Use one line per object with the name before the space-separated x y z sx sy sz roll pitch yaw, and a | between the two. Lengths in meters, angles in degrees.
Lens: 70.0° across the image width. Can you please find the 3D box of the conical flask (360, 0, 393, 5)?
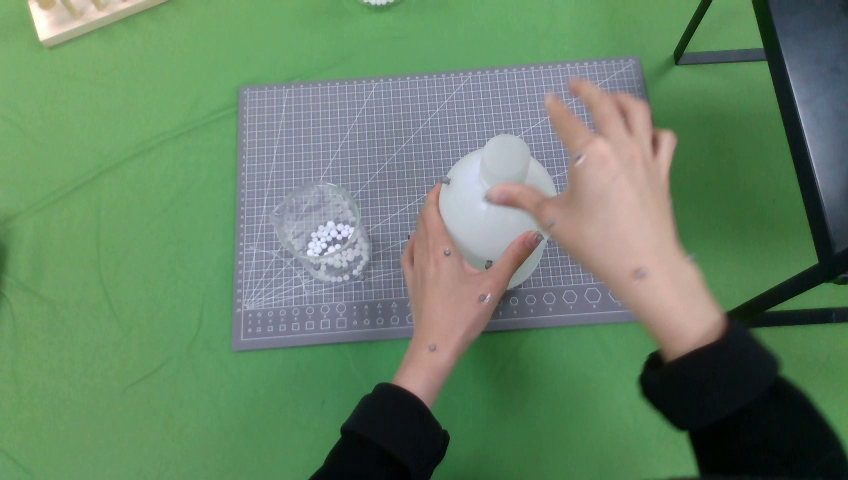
conical flask | -0.057 -0.328 0.668 0.075 0.122 0.075 -1 71 2

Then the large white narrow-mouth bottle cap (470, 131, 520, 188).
large white narrow-mouth bottle cap | 0.051 -0.057 0.435 0.038 0.024 0.037 -1 73 4

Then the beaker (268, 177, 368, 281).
beaker | -0.095 -0.005 0.574 0.084 0.101 0.073 7 71 5

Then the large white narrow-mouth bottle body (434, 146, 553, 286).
large white narrow-mouth bottle body | 0.060 -0.027 0.528 0.102 0.196 0.101 -1 72 4

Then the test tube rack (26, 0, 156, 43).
test tube rack | -0.352 -0.321 0.694 0.242 0.086 0.066 -24 73 -6
